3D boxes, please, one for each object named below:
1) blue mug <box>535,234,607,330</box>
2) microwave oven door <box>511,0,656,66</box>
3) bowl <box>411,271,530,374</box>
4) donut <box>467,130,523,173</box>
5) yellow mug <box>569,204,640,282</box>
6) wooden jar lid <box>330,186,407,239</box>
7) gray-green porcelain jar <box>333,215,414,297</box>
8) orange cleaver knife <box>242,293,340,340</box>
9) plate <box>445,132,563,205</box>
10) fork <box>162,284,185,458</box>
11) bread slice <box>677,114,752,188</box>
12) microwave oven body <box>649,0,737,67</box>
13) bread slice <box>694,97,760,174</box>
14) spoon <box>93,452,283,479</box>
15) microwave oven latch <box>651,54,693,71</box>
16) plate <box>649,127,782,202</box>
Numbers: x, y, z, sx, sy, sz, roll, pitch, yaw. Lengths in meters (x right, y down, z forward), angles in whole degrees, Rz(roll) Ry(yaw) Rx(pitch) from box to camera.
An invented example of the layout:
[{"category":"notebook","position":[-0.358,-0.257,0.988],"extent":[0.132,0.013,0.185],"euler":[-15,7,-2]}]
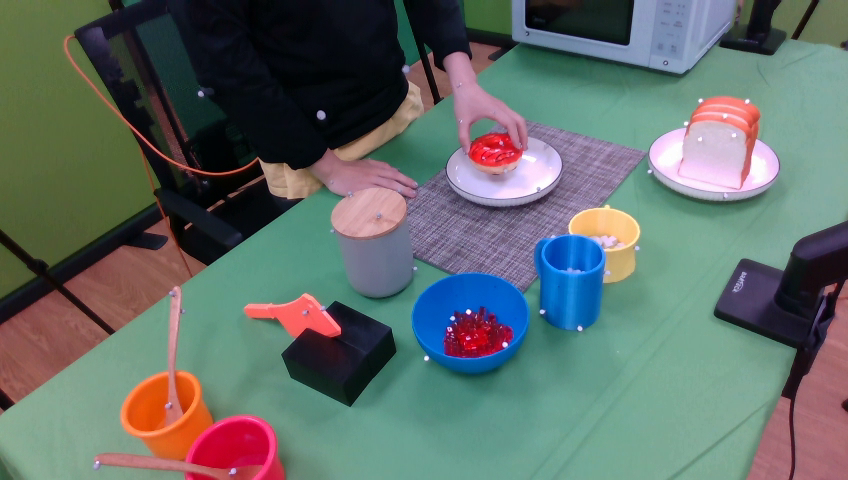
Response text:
[{"category":"blue mug","position":[0.191,0.048,0.824],"extent":[0.082,0.106,0.115],"euler":[-26,44,-20]},{"category":"microwave oven door","position":[0.351,-0.539,1.349],"extent":[0.353,0.245,0.039],"euler":[24,50,31]},{"category":"bowl","position":[0.062,0.120,0.780],"extent":[0.151,0.077,0.150],"euler":[-4,40,4]},{"category":"donut","position":[0.123,-0.157,1.054],"extent":[0.099,0.048,0.098],"euler":[-1,41,1]},{"category":"yellow mug","position":[0.268,-0.005,0.904],"extent":[0.099,0.064,0.130],"euler":[7,41,15]},{"category":"wooden jar lid","position":[-0.077,-0.035,0.846],"extent":[0.108,0.021,0.108],"euler":[-5,41,5]},{"category":"gray-green porcelain jar","position":[-0.071,0.012,0.887],"extent":[0.106,0.127,0.105],"euler":[-4,41,4]},{"category":"orange cleaver knife","position":[-0.185,0.107,0.827],"extent":[0.210,0.077,0.012],"euler":[-9,29,48]},{"category":"plate","position":[0.142,-0.123,1.076],"extent":[0.209,0.038,0.208],"euler":[-4,41,4]},{"category":"fork","position":[-0.302,0.157,0.733],"extent":[0.028,0.019,0.207],"euler":[-3,84,16]},{"category":"bread slice","position":[0.467,-0.144,0.976],"extent":[0.104,0.132,0.019],"euler":[18,55,30]},{"category":"microwave oven body","position":[0.475,-0.602,1.411],"extent":[0.438,0.261,0.327],"euler":[23,50,32]},{"category":"bread slice","position":[0.497,-0.173,1.004],"extent":[0.106,0.135,0.018],"euler":[23,51,26]},{"category":"spoon","position":[-0.240,0.239,0.632],"extent":[0.195,0.021,0.041],"euler":[26,34,-32]},{"category":"microwave oven latch","position":[0.532,-0.386,1.301],"extent":[0.078,0.029,0.030],"euler":[26,51,33]},{"category":"plate","position":[0.493,-0.127,1.036],"extent":[0.207,0.039,0.206],"euler":[-4,41,4]}]
